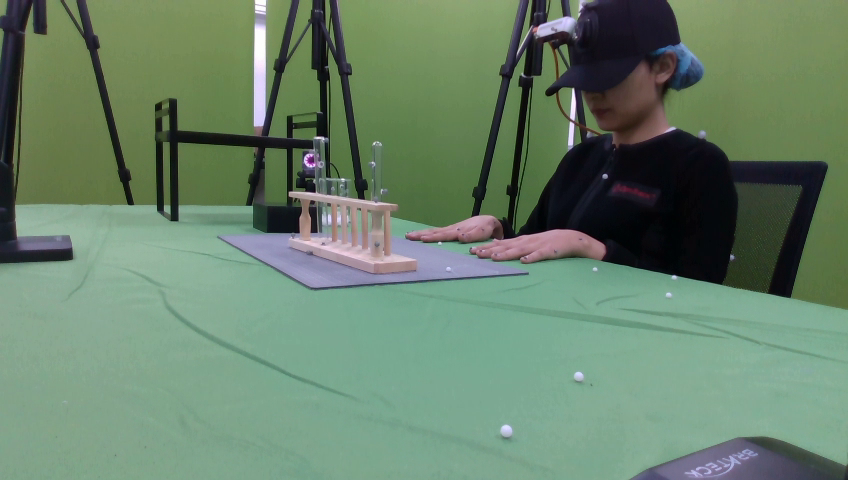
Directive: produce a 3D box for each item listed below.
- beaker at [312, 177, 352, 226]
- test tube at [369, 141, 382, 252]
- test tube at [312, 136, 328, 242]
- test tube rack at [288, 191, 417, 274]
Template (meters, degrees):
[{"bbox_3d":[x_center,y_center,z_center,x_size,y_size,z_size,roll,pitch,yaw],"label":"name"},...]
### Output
[{"bbox_3d":[-0.194,-0.081,1.266,0.084,0.100,0.073,-3,9,-29],"label":"beaker"},{"bbox_3d":[-0.065,-0.056,0.808,0.017,0.150,0.017,1,8,0],"label":"test tube"},{"bbox_3d":[-0.146,-0.070,0.850,0.017,0.150,0.017,-1,11,0],"label":"test tube"},{"bbox_3d":[-0.106,-0.017,0.835,0.067,0.085,0.241,-3,9,-37],"label":"test tube rack"}]
